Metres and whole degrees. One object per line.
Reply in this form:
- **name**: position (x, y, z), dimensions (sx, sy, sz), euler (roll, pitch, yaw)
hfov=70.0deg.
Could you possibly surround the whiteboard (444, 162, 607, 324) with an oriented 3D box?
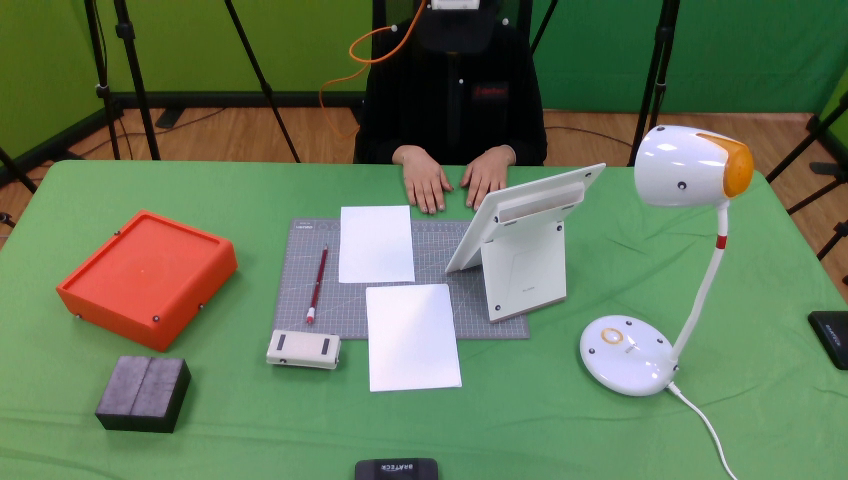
- **whiteboard**: position (0.185, 0.025, 1.029), dimensions (0.217, 0.306, 0.143), euler (-15, 68, -18)

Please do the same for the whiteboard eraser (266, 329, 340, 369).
- **whiteboard eraser**: position (-0.198, 0.181, 0.994), dimensions (0.113, 0.042, 0.055), euler (5, 45, 1)

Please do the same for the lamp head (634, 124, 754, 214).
- **lamp head**: position (0.351, -0.089, 0.776), dimensions (0.112, 0.113, 0.122), euler (-30, 30, -28)

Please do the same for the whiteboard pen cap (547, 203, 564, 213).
- **whiteboard pen cap**: position (0.277, -0.066, 1.275), dimensions (0.033, 0.018, 0.018), euler (-18, 50, -15)

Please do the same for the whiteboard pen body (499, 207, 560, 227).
- **whiteboard pen body**: position (0.222, -0.051, 1.259), dimensions (0.141, 0.017, 0.017), euler (-15, 49, -16)

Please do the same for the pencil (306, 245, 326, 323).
- **pencil**: position (-0.197, 0.076, 1.115), dimensions (0.012, 0.012, 0.193), euler (4, 44, 0)

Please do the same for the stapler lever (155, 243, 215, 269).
- **stapler lever**: position (-0.433, 0.023, 1.097), dimensions (0.118, 0.040, 0.026), euler (14, 39, 14)

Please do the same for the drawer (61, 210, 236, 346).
- **drawer**: position (-0.474, 0.061, 1.063), dimensions (0.194, 0.073, 0.211), euler (19, 49, 13)

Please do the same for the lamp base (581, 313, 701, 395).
- **lamp base**: position (0.361, 0.144, 0.973), dimensions (0.178, 0.181, 0.160), euler (34, 53, 23)

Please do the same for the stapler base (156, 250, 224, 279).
- **stapler base**: position (-0.431, 0.040, 1.111), dimensions (0.130, 0.024, 0.041), euler (11, 38, 17)

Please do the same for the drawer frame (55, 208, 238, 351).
- **drawer frame**: position (-0.474, 0.062, 1.059), dimensions (0.201, 0.083, 0.213), euler (18, 48, 12)
